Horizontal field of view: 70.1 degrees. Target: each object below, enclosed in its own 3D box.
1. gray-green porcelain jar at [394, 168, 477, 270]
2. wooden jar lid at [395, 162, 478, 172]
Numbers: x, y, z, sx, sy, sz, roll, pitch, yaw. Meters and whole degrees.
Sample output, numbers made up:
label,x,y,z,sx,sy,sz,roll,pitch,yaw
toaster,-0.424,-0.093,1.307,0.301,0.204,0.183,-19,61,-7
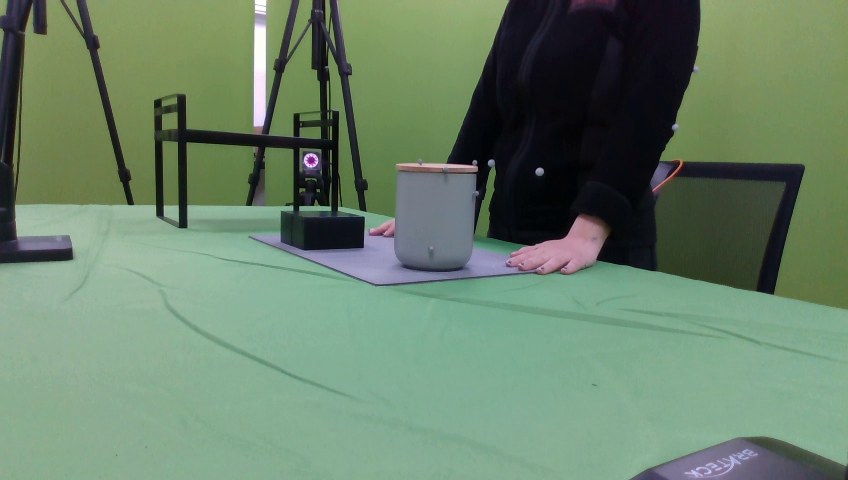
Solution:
label,x,y,z,sx,sy,sz,roll,pitch,yaw
gray-green porcelain jar,0.014,-0.029,0.793,0.106,0.126,0.106,2,7,0
wooden jar lid,0.016,-0.090,0.785,0.108,0.020,0.108,2,10,0
